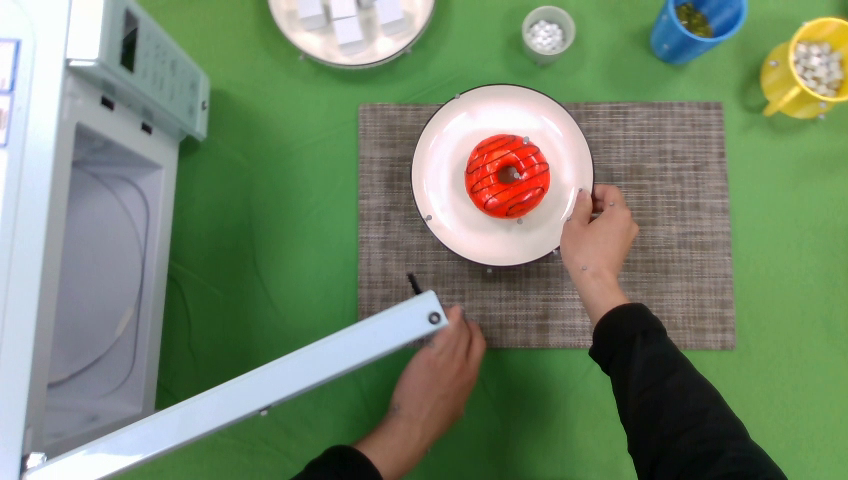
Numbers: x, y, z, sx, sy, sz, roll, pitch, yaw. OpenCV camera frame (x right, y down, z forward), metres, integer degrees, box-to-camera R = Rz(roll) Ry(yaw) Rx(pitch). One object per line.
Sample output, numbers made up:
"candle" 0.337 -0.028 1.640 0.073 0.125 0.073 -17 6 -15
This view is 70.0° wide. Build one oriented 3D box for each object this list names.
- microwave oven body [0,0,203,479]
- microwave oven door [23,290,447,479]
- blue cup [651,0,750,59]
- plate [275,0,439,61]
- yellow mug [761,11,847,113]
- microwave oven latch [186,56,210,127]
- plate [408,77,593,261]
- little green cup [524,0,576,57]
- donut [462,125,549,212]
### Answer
"microwave oven body" -0.433 -0.019 0.610 0.326 0.260 0.440 3 86 1
"microwave oven door" -0.145 0.132 0.590 0.356 0.244 0.039 -24 84 -2
"blue cup" 0.313 -0.259 0.708 0.092 0.100 0.092 0 86 0
"plate" -0.081 -0.317 0.749 0.208 0.039 0.207 0 85 1
"yellow mug" 0.456 -0.199 0.719 0.131 0.064 0.100 -41 86 -2
"microwave oven latch" -0.273 -0.177 0.719 0.030 0.029 0.079 5 86 1
"plate" 0.086 -0.080 0.693 0.209 0.038 0.209 0 88 2
"little green cup" 0.151 -0.256 0.741 0.061 0.039 0.061 0 84 1
"donut" 0.091 -0.080 0.682 0.099 0.048 0.099 0 89 4
